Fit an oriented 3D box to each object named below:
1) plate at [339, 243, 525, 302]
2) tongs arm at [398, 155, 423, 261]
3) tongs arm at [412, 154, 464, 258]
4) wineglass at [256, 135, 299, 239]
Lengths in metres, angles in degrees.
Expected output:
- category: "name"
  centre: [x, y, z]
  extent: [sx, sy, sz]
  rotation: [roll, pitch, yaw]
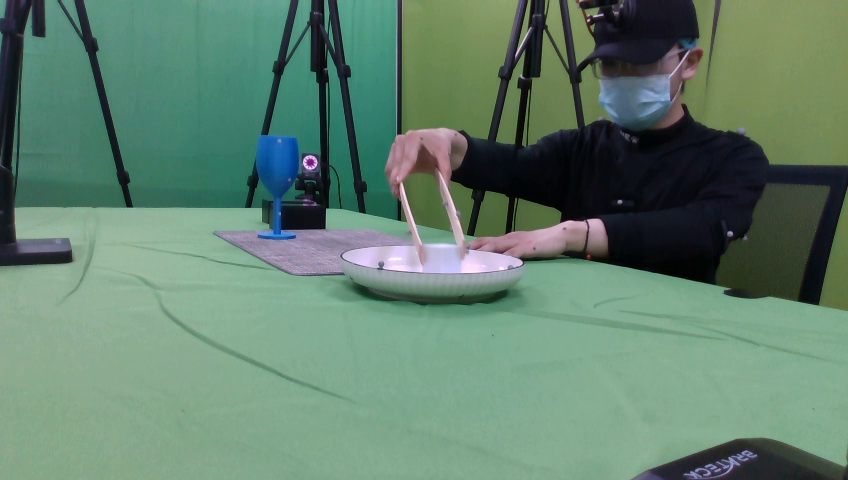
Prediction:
- category: "plate"
  centre: [0.008, 0.035, 0.682]
  extent: [0.209, 0.038, 0.209]
  rotation: [3, 7, 0]
- category: "tongs arm"
  centre: [-0.017, -0.058, 0.819]
  extent: [0.028, 0.028, 0.386]
  rotation: [-9, 22, -2]
- category: "tongs arm"
  centre: [0.011, -0.060, 0.822]
  extent: [0.051, 0.026, 0.384]
  rotation: [-4, 22, 0]
- category: "wineglass"
  centre: [-0.252, -0.091, 1.035]
  extent: [0.074, 0.172, 0.073]
  rotation: [2, 7, 0]
